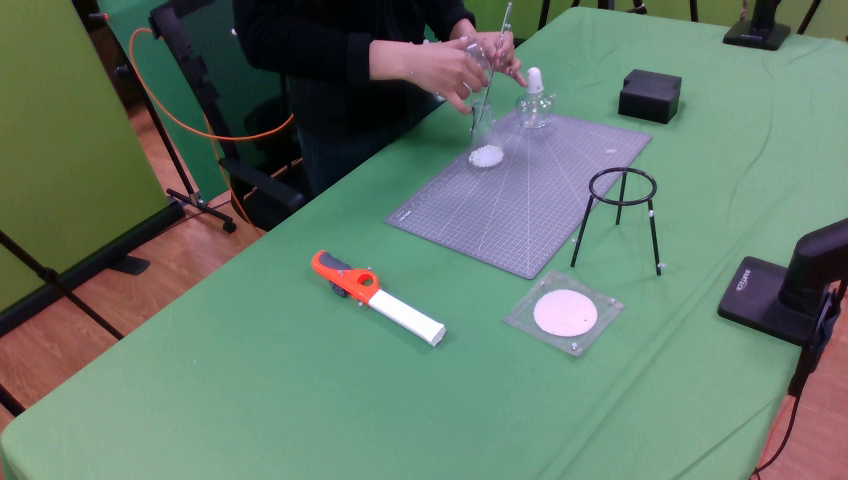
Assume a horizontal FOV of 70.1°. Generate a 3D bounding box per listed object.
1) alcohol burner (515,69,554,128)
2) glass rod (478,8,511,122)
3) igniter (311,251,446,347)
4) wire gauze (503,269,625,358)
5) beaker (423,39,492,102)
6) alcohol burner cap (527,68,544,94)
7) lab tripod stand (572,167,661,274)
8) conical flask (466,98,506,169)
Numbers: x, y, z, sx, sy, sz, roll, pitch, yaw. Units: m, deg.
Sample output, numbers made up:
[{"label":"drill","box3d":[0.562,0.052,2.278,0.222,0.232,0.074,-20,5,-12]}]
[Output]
[{"label":"alcohol burner","box3d":[0.221,-0.285,1.203,0.078,0.119,0.077,-4,39,4]},{"label":"glass rod","box3d":[0.123,-0.302,1.058,0.008,0.200,0.008,12,23,-5]},{"label":"igniter","box3d":[-0.078,0.081,0.899,0.274,0.025,0.057,27,63,35]},{"label":"wire gauze","box3d":[0.194,0.100,0.840,0.120,0.011,0.125,27,54,36]},{"label":"beaker","box3d":[0.056,-0.284,1.034,0.100,0.084,0.073,-25,35,-1]},{"label":"alcohol burner cap","box3d":[0.216,-0.312,1.179,0.034,0.048,0.033,-9,40,8]},{"label":"lab tripod stand","box3d":[0.283,-0.030,0.879,0.148,0.132,0.147,-7,38,6]},{"label":"conical flask","box3d":[0.111,-0.199,1.116,0.075,0.122,0.075,-5,40,5]}]
